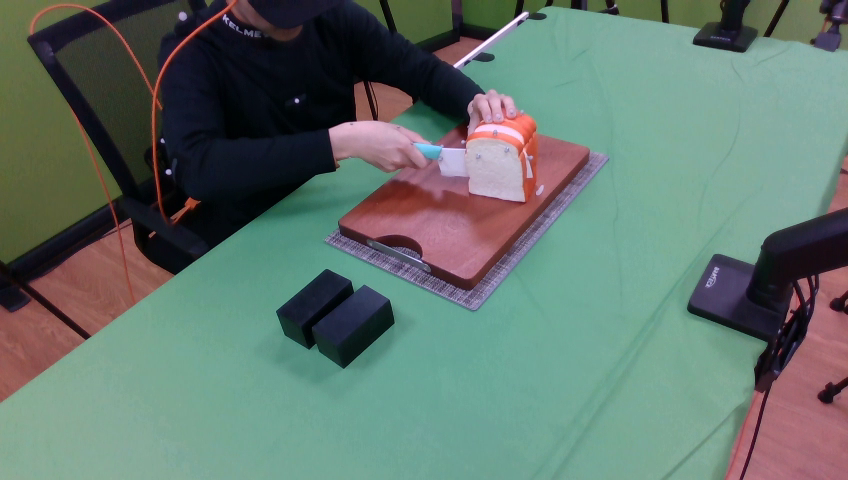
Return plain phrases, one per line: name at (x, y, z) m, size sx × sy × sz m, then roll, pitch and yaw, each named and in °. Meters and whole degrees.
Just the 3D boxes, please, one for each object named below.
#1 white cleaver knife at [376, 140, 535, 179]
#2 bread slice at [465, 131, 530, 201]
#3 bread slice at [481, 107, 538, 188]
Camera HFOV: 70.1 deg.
white cleaver knife at (0.043, -0.131, 1.005) m, size 0.284 × 0.066 × 0.021 m, roll 9°, pitch 45°, yaw 26°
bread slice at (0.113, -0.117, 0.964) m, size 0.104 × 0.132 × 0.019 m, roll 9°, pitch 51°, yaw 21°
bread slice at (0.140, -0.153, 1.002) m, size 0.106 × 0.135 × 0.018 m, roll 22°, pitch 45°, yaw 23°
